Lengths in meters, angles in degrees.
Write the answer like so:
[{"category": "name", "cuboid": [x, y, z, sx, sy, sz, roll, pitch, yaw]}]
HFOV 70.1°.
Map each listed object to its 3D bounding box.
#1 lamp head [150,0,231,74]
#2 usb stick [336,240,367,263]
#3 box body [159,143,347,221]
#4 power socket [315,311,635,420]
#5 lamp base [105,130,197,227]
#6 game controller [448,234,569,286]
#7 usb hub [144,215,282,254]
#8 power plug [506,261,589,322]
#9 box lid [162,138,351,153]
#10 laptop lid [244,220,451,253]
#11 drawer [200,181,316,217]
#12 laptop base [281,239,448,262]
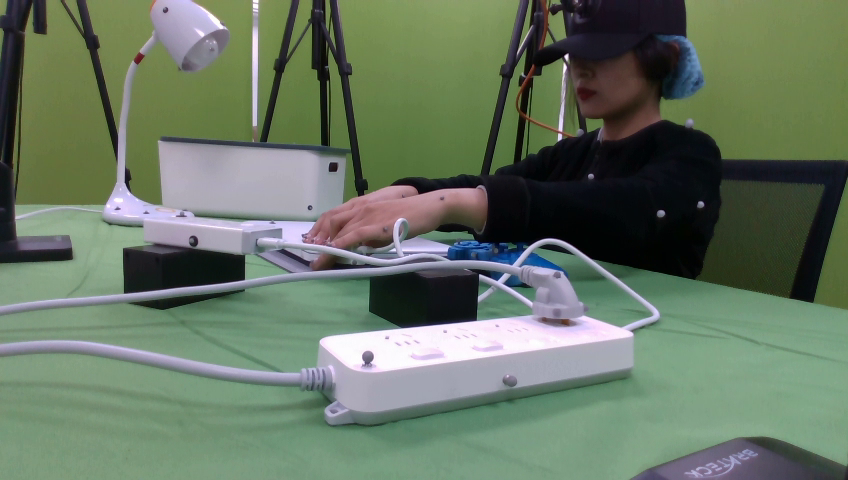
[{"category": "lamp head", "cuboid": [-0.432, -0.375, 1.086, 0.123, 0.112, 0.112, 42, 8, -2]}, {"category": "usb stick", "cuboid": [-0.093, 0.014, 0.742, 0.021, 0.027, 0.059, -5, 2, -33]}, {"category": "box body", "cuboid": [-0.384, -0.137, 1.406, 0.364, 0.160, 0.254, 3, 8, 7]}, {"category": "power socket", "cuboid": [0.039, 0.072, 0.385, 0.228, 0.032, 0.072, -2, 7, -29]}, {"category": "lamp base", "cuboid": [-0.532, -0.120, 1.153, 0.179, 0.180, 0.161, 1, 7, 8]}, {"category": "game controller", "cuboid": [0.099, 0.022, 0.756, 0.097, 0.051, 0.154, -6, 10, -29]}, {"category": "usb hub", "cuboid": [-0.200, -0.006, 0.573, 0.125, 0.025, 0.050, 6, 7, 23]}, {"category": "power plug", "cuboid": [0.091, 0.043, 0.444, 0.035, 0.052, 0.072, -1, 5, -18]}, {"category": "box lid", "cuboid": [-0.371, -0.215, 1.394, 0.371, 0.015, 0.263, 4, 8, 7]}, {"category": "laptop lid", "cuboid": [-0.124, -0.009, 0.945, 0.243, 0.013, 0.355, 1, 7, -29]}, {"category": "drawer", "cuboid": [-0.372, -0.097, 1.393, 0.212, 0.073, 0.194, 1, 9, 6]}, {"category": "laptop base", "cuboid": [-0.127, 0.003, 0.945, 0.237, 0.023, 0.352, 2, 6, -31]}]
